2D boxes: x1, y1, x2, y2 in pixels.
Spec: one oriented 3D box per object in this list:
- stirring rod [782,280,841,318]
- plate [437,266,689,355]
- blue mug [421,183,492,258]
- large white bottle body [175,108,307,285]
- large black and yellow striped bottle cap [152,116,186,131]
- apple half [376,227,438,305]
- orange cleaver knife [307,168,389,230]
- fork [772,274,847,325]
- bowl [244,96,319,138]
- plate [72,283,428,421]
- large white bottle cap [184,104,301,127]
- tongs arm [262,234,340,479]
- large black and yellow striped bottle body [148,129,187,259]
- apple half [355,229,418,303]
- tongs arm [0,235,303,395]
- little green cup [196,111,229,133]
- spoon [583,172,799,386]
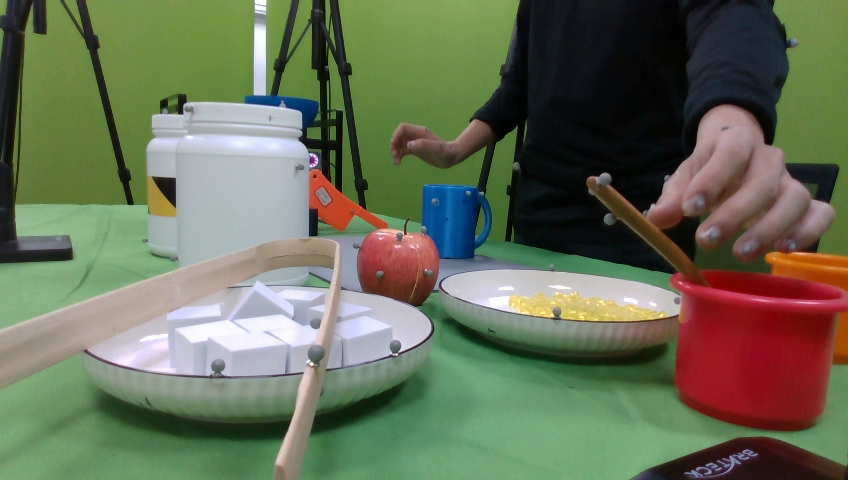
[{"bbox_3d":[0.344,0.019,0.460,0.014,0.006,0.176,-13,-27,-30],"label":"stirring rod"},{"bbox_3d":[0.114,0.057,0.517,0.209,0.038,0.209,3,7,0],"label":"plate"},{"bbox_3d":[0.052,-0.032,0.912,0.117,0.106,0.082,-1,8,-24],"label":"blue mug"},{"bbox_3d":[-0.188,-0.042,0.630,0.131,0.184,0.130,2,8,0],"label":"large white bottle body"},{"bbox_3d":[-0.309,-0.156,0.826,0.115,0.019,0.115,3,6,0],"label":"large black and yellow striped bottle cap"},{"bbox_3d":[-0.017,0.026,0.593,0.080,0.074,0.053,4,2,43],"label":"apple half"},{"bbox_3d":[-0.158,-0.060,1.166,0.212,0.077,0.012,34,-12,-32],"label":"orange cleaver knife"},{"bbox_3d":[0.332,0.018,0.442,0.028,0.018,0.207,0,-36,-15],"label":"fork"},{"bbox_3d":[-0.294,-0.252,1.254,0.151,0.077,0.151,2,7,0],"label":"bowl"},{"bbox_3d":[-0.102,0.067,0.381,0.208,0.039,0.207,2,7,0],"label":"plate"},{"bbox_3d":[-0.184,-0.126,0.618,0.115,0.018,0.115,2,8,0],"label":"large white bottle cap"},{"bbox_3d":[-0.074,0.039,0.349,0.051,0.026,0.384,-2,10,-3],"label":"tongs arm"},{"bbox_3d":[-0.310,-0.073,0.838,0.131,0.184,0.130,2,8,0],"label":"large black and yellow striped bottle body"},{"bbox_3d":[-0.044,0.027,0.564,0.081,0.081,0.033,9,5,42],"label":"apple half"},{"bbox_3d":[-0.157,0.038,0.351,0.028,0.028,0.388,-3,9,12],"label":"tongs arm"},{"bbox_3d":[-0.403,-0.225,1.154,0.061,0.038,0.061,3,8,0],"label":"little green cup"},{"bbox_3d":[0.159,0.026,0.358,0.194,0.021,0.041,46,-1,-14],"label":"spoon"}]
